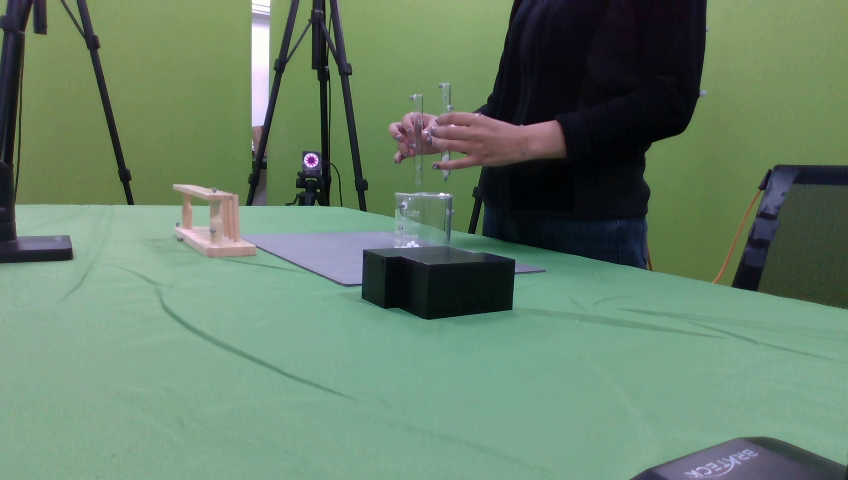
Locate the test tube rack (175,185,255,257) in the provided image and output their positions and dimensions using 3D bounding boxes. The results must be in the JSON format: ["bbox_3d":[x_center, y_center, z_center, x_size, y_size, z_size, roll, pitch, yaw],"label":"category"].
[{"bbox_3d":[-0.324,-0.035,0.922,0.067,0.085,0.241,-2,9,-31],"label":"test tube rack"}]

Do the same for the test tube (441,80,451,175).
[{"bbox_3d":[0.036,-0.181,0.977,0.017,0.150,0.017,-1,10,1],"label":"test tube"}]

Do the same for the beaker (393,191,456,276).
[{"bbox_3d":[-0.003,-0.010,0.749,0.074,0.100,0.083,-3,8,-40],"label":"beaker"}]

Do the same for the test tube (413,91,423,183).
[{"bbox_3d":[-0.010,-0.169,0.999,0.017,0.150,0.017,-1,17,1],"label":"test tube"}]
